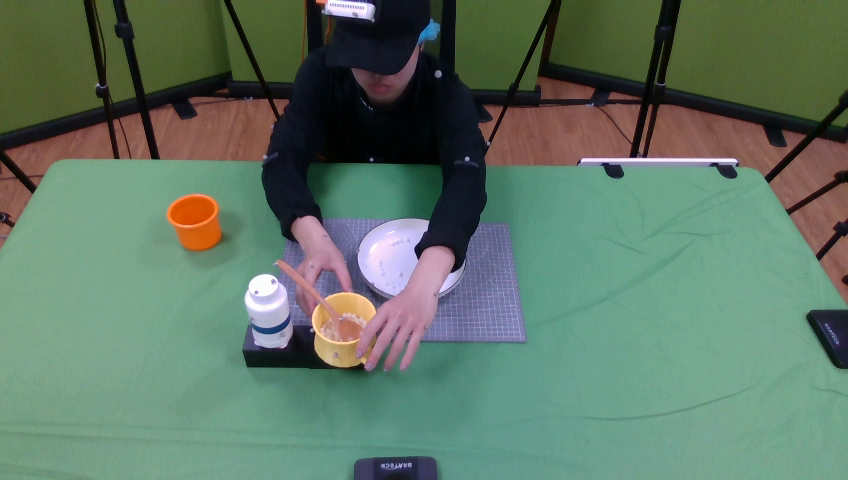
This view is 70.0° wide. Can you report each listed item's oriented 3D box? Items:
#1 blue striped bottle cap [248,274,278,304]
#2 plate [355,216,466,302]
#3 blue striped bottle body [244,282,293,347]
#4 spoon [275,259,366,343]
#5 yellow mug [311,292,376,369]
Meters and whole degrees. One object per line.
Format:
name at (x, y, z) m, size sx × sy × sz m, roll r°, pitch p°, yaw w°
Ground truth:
blue striped bottle cap at (-0.239, 0.072, 0.900) m, size 0.044 × 0.021 × 0.044 m, roll 4°, pitch 46°, yaw -4°
plate at (-0.026, 0.039, 1.144) m, size 0.208 × 0.039 × 0.206 m, roll 2°, pitch 46°, yaw -2°
blue striped bottle body at (-0.241, 0.108, 0.937) m, size 0.063 × 0.121 × 0.062 m, roll 2°, pitch 47°, yaw -2°
spoon at (-0.161, 0.098, 0.946) m, size 0.194 × 0.021 × 0.041 m, roll 48°, pitch 57°, yaw -5°
yellow mug at (-0.115, 0.149, 0.945) m, size 0.100 × 0.064 × 0.130 m, roll -30°, pitch 56°, yaw -28°
